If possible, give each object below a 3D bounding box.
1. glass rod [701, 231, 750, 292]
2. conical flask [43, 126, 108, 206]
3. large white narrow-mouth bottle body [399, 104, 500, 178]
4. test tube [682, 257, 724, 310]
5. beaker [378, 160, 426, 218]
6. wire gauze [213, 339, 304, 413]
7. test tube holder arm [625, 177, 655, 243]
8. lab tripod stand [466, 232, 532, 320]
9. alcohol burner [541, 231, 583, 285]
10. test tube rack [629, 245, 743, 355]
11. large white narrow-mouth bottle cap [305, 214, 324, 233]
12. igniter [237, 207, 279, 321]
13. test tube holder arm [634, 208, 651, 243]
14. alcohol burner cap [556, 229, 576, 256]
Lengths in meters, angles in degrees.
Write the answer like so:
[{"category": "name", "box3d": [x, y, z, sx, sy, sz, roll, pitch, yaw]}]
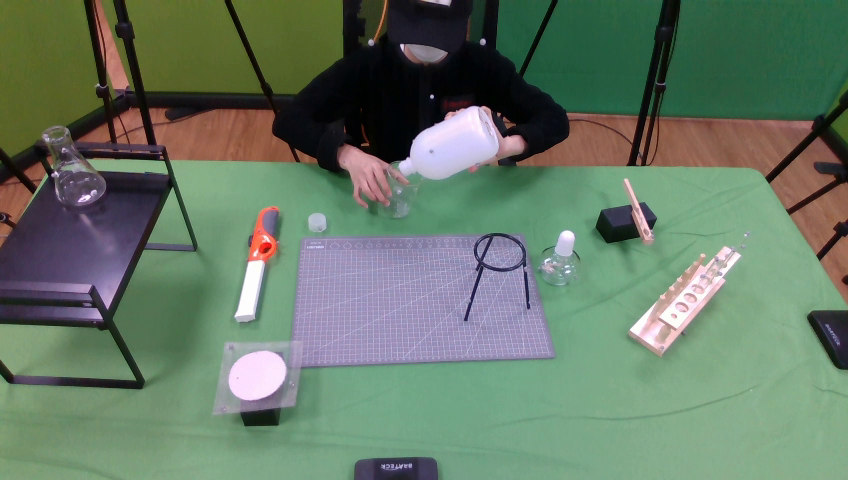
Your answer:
[{"category": "glass rod", "box3d": [0.519, 0.045, 1.050, 0.008, 0.201, 0.008, 0, 55, 0]}, {"category": "conical flask", "box3d": [-0.555, -0.119, 0.953, 0.075, 0.122, 0.075, 2, 46, -2]}, {"category": "large white narrow-mouth bottle body", "box3d": [0.039, -0.175, 1.155, 0.194, 0.102, 0.101, -23, 41, 24]}, {"category": "test tube", "box3d": [0.475, 0.080, 1.037, 0.017, 0.151, 0.017, 2, 51, -2]}, {"category": "beaker", "box3d": [-0.047, -0.100, 1.229, 0.084, 0.100, 0.073, 6, 46, -17]}, {"category": "wire gauze", "box3d": [-0.250, 0.203, 0.924, 0.121, 0.011, 0.124, -1, 46, -3]}, {"category": "test tube holder arm", "box3d": [0.433, -0.062, 1.220, 0.013, 0.015, 0.177, 1, 47, -3]}, {"category": "lab tripod stand", "box3d": [0.125, 0.059, 1.065, 0.148, 0.132, 0.147, 1, 45, 0]}, {"category": "alcohol burner", "box3d": [0.258, 0.028, 1.123, 0.078, 0.120, 0.077, 1, 48, -1]}, {"category": "test tube rack", "box3d": [0.474, 0.095, 1.091, 0.242, 0.085, 0.066, -34, 56, -31]}, {"category": "large white narrow-mouth bottle cap", "box3d": [-0.219, -0.033, 1.214, 0.038, 0.024, 0.037, 2, 46, -2]}, {"category": "igniter", "box3d": [-0.309, 0.035, 1.136, 0.057, 0.025, 0.274, -7, 45, 5]}, {"category": "test tube holder arm", "box3d": [0.428, -0.030, 1.189, 0.010, 0.015, 0.087, 1, 47, -2]}, {"category": "alcohol burner cap", "box3d": [0.260, 0.002, 1.098, 0.034, 0.048, 0.033, 3, 40, -2]}]
